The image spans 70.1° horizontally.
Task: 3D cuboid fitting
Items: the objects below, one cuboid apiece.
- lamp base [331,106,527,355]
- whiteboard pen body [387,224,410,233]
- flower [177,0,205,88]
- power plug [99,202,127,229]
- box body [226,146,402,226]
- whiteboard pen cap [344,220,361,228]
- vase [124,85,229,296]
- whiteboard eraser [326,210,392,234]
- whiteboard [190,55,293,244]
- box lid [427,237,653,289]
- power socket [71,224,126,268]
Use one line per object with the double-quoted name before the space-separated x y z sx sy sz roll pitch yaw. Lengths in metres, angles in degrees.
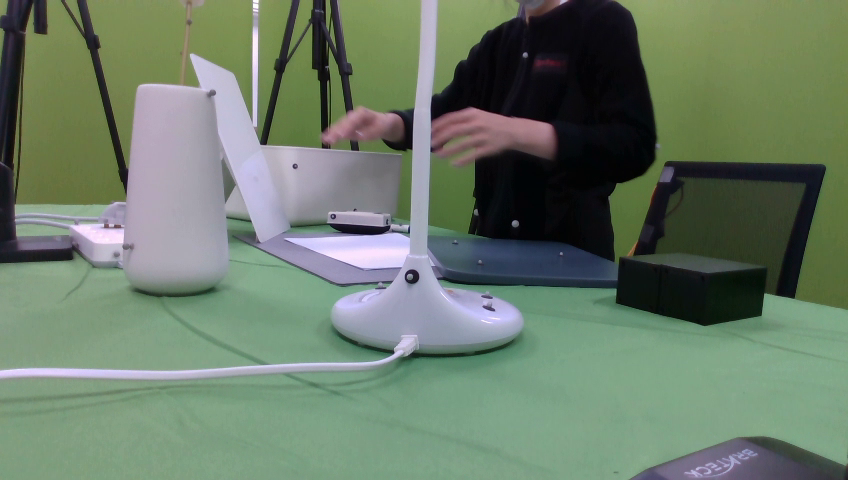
"lamp base" 0.006 -0.012 0.478 0.161 0.180 0.179 2 10 2
"whiteboard pen body" -0.088 -0.026 1.214 0.140 0.017 0.017 5 8 18
"flower" -0.243 -0.131 0.609 0.044 0.361 0.038 -5 -12 12
"power plug" -0.415 -0.026 0.848 0.073 0.052 0.035 6 5 -28
"box body" -0.254 -0.129 1.379 0.253 0.160 0.366 8 9 36
"whiteboard pen cap" -0.144 -0.032 1.230 0.033 0.018 0.018 6 8 17
"vase" -0.244 -0.047 0.598 0.098 0.200 0.098 3 8 0
"whiteboard eraser" -0.121 -0.034 1.131 0.112 0.042 0.056 4 9 13
"whiteboard" -0.362 -0.129 1.029 0.144 0.305 0.217 -18 7 3
"box lid" 0.139 0.028 0.886 0.264 0.015 0.371 2 7 -6
"power socket" -0.409 0.004 0.793 0.072 0.032 0.225 -2 8 -37
